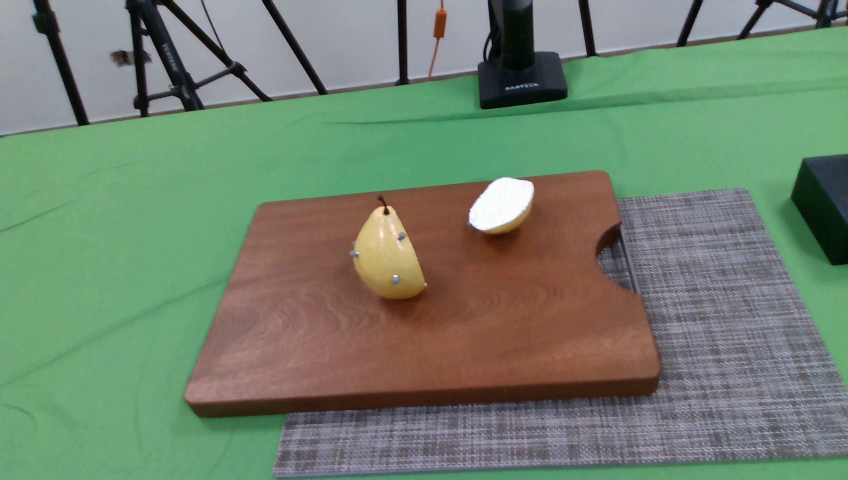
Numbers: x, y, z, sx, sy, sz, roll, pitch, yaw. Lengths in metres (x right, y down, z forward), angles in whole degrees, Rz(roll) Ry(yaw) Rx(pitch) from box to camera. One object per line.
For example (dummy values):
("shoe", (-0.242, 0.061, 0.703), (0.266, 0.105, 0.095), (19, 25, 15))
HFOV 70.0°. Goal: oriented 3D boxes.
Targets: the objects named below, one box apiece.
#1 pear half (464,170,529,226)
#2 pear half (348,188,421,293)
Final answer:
("pear half", (0.077, -0.039, 0.611), (0.070, 0.031, 0.087), (-17, 27, 18))
("pear half", (-0.042, 0.001, 0.542), (0.056, 0.111, 0.075), (-27, 42, -14))
